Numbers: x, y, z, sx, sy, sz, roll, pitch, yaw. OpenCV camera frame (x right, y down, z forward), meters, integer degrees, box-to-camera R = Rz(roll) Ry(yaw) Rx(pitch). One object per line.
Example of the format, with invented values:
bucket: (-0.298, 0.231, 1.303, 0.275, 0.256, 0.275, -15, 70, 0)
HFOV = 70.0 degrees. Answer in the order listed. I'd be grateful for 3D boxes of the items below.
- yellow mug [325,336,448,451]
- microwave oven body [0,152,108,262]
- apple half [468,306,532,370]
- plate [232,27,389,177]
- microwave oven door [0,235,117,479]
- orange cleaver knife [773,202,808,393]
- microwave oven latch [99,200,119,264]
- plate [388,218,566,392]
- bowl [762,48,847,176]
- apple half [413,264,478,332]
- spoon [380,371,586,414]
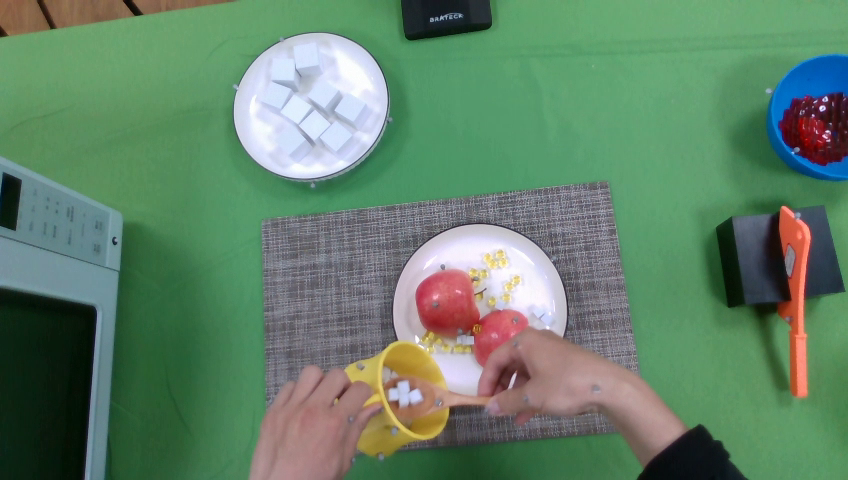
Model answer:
yellow mug: (-0.042, 0.155, 0.598, 0.064, 0.131, 0.099, -33, 71, 33)
microwave oven body: (-0.561, 0.150, 0.656, 0.326, 0.261, 0.439, -3, 79, 4)
apple half: (0.089, 0.114, 0.709, 0.081, 0.033, 0.081, -2, 75, 6)
plate: (-0.147, -0.180, 0.803, 0.207, 0.039, 0.206, -1, 78, 5)
microwave oven door: (-0.415, 0.183, 0.630, 0.039, 0.245, 0.354, -3, 78, 5)
orange cleaver knife: (0.406, 0.064, 0.676, 0.012, 0.077, 0.212, -5, 101, 9)
microwave oven latch: (-0.410, -0.010, 0.773, 0.030, 0.029, 0.079, -1, 79, 5)
plate: (0.062, 0.078, 0.725, 0.209, 0.038, 0.208, -1, 79, 5)
bowl: (0.467, -0.138, 0.714, 0.151, 0.077, 0.150, -1, 78, 6)
apple half: (0.023, 0.067, 0.715, 0.074, 0.053, 0.080, -8, 78, 6)
spoon: (0.052, 0.148, 0.569, 0.193, 0.022, 0.041, 0, 62, 15)
